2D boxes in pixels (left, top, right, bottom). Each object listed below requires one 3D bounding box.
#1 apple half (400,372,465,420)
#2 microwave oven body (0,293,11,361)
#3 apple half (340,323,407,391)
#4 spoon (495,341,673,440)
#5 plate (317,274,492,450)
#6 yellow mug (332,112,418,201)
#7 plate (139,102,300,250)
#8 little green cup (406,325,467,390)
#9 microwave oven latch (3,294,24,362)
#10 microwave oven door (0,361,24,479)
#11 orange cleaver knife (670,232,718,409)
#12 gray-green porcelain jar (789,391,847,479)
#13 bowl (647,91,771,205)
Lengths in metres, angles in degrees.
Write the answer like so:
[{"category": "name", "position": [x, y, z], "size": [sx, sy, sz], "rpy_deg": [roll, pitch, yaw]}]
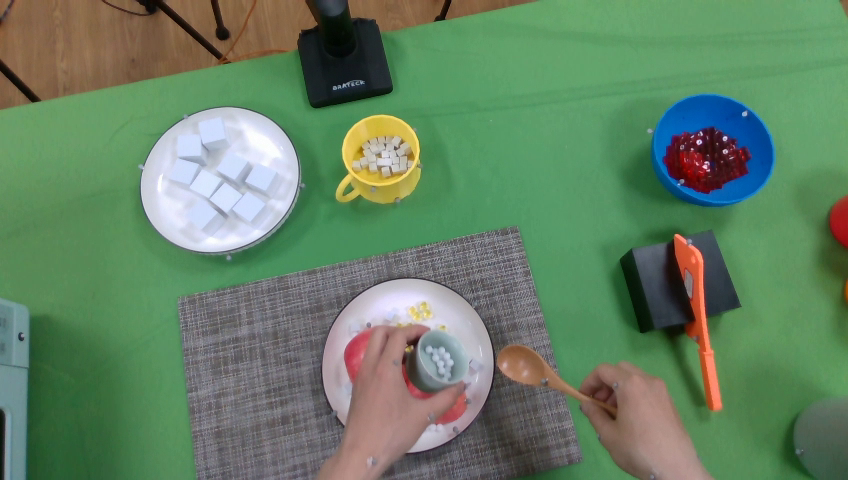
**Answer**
[{"category": "apple half", "position": [0.009, 0.176, 0.718], "size": [0.081, 0.033, 0.081], "rpy_deg": [-1, 72, 4]}, {"category": "microwave oven body", "position": [-0.625, 0.269, 0.585], "size": [0.326, 0.261, 0.439], "rpy_deg": [-9, 74, -3]}, {"category": "apple half", "position": [-0.062, 0.138, 0.720], "size": [0.075, 0.053, 0.080], "rpy_deg": [-14, 74, -1]}, {"category": "spoon", "position": [0.159, 0.157, 0.623], "size": [0.192, 0.022, 0.041], "rpy_deg": [24, 99, 32]}, {"category": "plate", "position": [-0.023, 0.146, 0.733], "size": [0.209, 0.038, 0.208], "rpy_deg": [0, 74, 0]}, {"category": "yellow mug", "position": [-0.070, -0.098, 0.794], "size": [0.131, 0.064, 0.099], "rpy_deg": [-43, 77, -11]}, {"category": "plate", "position": [-0.267, -0.083, 0.806], "size": [0.208, 0.039, 0.206], "rpy_deg": [0, 74, 1]}, {"category": "little green cup", "position": [0.011, 0.123, 0.628], "size": [0.062, 0.039, 0.061], "rpy_deg": [11, 45, -10]}, {"category": "microwave oven latch", "position": [-0.505, 0.107, 0.732], "size": [0.030, 0.029, 0.078], "rpy_deg": [-7, 74, -2]}, {"category": "microwave oven door", "position": [-0.474, 0.286, 0.574], "size": [0.039, 0.245, 0.353], "rpy_deg": [-9, 74, -2]}, {"category": "orange cleaver knife", "position": [0.321, 0.095, 0.727], "size": [0.012, 0.077, 0.212], "rpy_deg": [-11, 97, 1]}, {"category": "gray-green porcelain jar", "position": [0.480, 0.220, 0.666], "size": [0.106, 0.127, 0.105], "rpy_deg": [0, 73, 0]}, {"category": "bowl", "position": [0.355, -0.107, 0.787], "size": [0.151, 0.077, 0.150], "rpy_deg": [0, 74, 1]}]
